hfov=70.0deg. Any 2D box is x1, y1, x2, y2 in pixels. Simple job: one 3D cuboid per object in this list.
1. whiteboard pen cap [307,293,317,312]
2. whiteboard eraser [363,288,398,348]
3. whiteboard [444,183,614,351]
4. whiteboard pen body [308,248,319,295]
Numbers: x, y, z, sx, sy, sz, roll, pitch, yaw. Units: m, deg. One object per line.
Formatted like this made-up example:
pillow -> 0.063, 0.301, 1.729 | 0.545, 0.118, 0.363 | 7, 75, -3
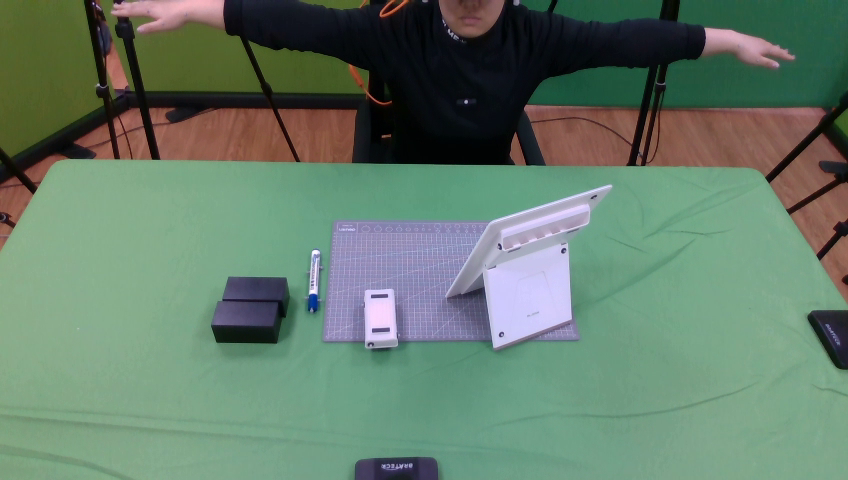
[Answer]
whiteboard pen cap -> -0.199, 0.110, 1.078 | 0.018, 0.018, 0.033 | -2, 47, -6
whiteboard eraser -> -0.076, 0.136, 1.042 | 0.056, 0.042, 0.112 | -1, 46, -7
whiteboard -> 0.186, 0.065, 0.989 | 0.217, 0.306, 0.143 | -16, 68, -19
whiteboard pen body -> -0.204, 0.069, 1.119 | 0.017, 0.017, 0.140 | -1, 47, -5
